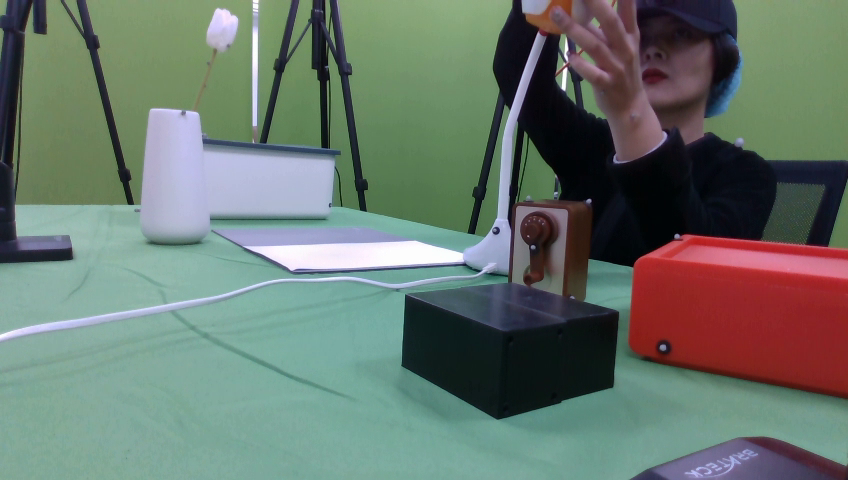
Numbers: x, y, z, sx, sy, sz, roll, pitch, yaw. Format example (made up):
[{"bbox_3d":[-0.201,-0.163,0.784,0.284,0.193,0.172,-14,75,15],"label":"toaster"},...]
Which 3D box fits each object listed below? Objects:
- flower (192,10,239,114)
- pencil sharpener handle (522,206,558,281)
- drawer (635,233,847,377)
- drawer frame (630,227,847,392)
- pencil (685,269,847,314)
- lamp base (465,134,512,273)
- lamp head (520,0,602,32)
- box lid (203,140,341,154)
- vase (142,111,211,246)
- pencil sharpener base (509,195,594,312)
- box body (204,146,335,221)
[{"bbox_3d":[-0.354,-0.174,0.915,0.038,0.361,0.044,18,-3,12],"label":"flower"},{"bbox_3d":[0.102,0.003,0.555,0.036,0.067,0.031,0,5,31],"label":"pencil sharpener handle"},{"bbox_3d":[0.292,0.044,0.488,0.193,0.073,0.213,7,9,30],"label":"drawer"},{"bbox_3d":[0.292,0.043,0.484,0.201,0.082,0.214,7,9,29],"label":"drawer frame"},{"bbox_3d":[0.308,0.045,0.516,0.194,0.012,0.012,13,5,-11],"label":"pencil"},{"bbox_3d":[0.132,-0.052,0.808,0.160,0.180,0.180,6,12,27],"label":"lamp base"},{"bbox_3d":[0.147,-0.281,0.627,0.112,0.123,0.112,14,19,-4],"label":"lamp head"},{"bbox_3d":[-0.396,-0.212,1.373,0.373,0.015,0.262,-1,9,-29],"label":"box lid"},{"bbox_3d":[-0.378,-0.093,0.920,0.098,0.200,0.098,2,9,0],"label":"vase"},{"bbox_3d":[0.126,0.011,0.601,0.061,0.107,0.077,7,9,30],"label":"pencil sharpener base"},{"bbox_3d":[-0.411,-0.135,1.386,0.366,0.160,0.253,-2,9,-29],"label":"box body"}]
